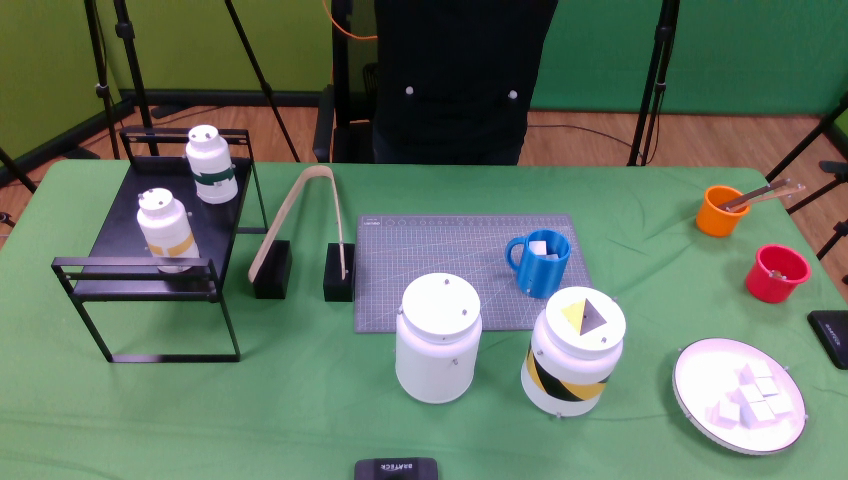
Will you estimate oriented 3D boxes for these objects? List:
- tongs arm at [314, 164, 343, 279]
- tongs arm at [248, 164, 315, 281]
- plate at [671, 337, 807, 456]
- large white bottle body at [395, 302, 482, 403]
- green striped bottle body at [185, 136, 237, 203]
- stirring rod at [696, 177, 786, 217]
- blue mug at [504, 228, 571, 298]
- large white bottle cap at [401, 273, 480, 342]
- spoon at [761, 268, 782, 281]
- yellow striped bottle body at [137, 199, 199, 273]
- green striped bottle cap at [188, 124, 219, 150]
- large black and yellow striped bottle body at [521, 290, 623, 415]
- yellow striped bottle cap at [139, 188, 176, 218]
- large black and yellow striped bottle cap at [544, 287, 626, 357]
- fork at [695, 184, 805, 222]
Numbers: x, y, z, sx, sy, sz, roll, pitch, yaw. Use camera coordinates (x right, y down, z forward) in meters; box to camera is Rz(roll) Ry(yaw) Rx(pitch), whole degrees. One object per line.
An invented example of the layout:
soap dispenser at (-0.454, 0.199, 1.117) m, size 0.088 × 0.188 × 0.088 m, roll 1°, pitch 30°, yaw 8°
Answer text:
tongs arm at (-0.188, -0.049, 1.170) m, size 0.051 × 0.026 × 0.382 m, roll -5°, pitch 35°, yaw -6°
tongs arm at (-0.270, -0.048, 1.165) m, size 0.028 × 0.028 × 0.385 m, roll 0°, pitch 34°, yaw 7°
plate at (0.503, 0.254, 0.984) m, size 0.208 × 0.039 × 0.206 m, roll 2°, pitch 46°, yaw -2°
large white bottle body at (0.020, 0.153, 0.939) m, size 0.131 × 0.185 × 0.130 m, roll 2°, pitch 46°, yaw -2°
green striped bottle body at (-0.341, -0.122, 0.969) m, size 0.063 × 0.120 × 0.063 m, roll 2°, pitch 46°, yaw -2°
stirring rod at (0.647, -0.087, 1.244) m, size 0.176 × 0.006 × 0.014 m, roll -26°, pitch 51°, yaw 29°
blue mug at (0.202, 0.036, 1.116) m, size 0.116 × 0.106 × 0.082 m, roll 22°, pitch 49°, yaw 16°
large white bottle cap at (0.024, 0.095, 0.878) m, size 0.115 × 0.018 × 0.114 m, roll 2°, pitch 47°, yaw -2°
spoon at (0.638, 0.060, 1.105) m, size 0.041 × 0.021 × 0.194 m, roll 38°, pitch 11°, yaw 24°
yellow striped bottle body at (-0.366, -0.014, 0.863) m, size 0.063 × 0.121 × 0.062 m, roll 2°, pitch 46°, yaw -2°
green striped bottle cap at (-0.339, -0.158, 0.931) m, size 0.044 × 0.020 × 0.044 m, roll 3°, pitch 47°, yaw -3°
large black and yellow striped bottle body at (0.228, 0.173, 0.938) m, size 0.131 × 0.185 × 0.130 m, roll 2°, pitch 47°, yaw -2°
yellow striped bottle cap at (-0.363, -0.051, 0.826) m, size 0.044 × 0.019 × 0.044 m, roll 1°, pitch 48°, yaw 0°
large black and yellow striped bottle cap at (0.232, 0.116, 0.876) m, size 0.115 × 0.019 × 0.114 m, roll 2°, pitch 46°, yaw -1°
fork at (0.657, -0.074, 1.229) m, size 0.207 × 0.019 × 0.028 m, roll -24°, pitch 34°, yaw 36°
